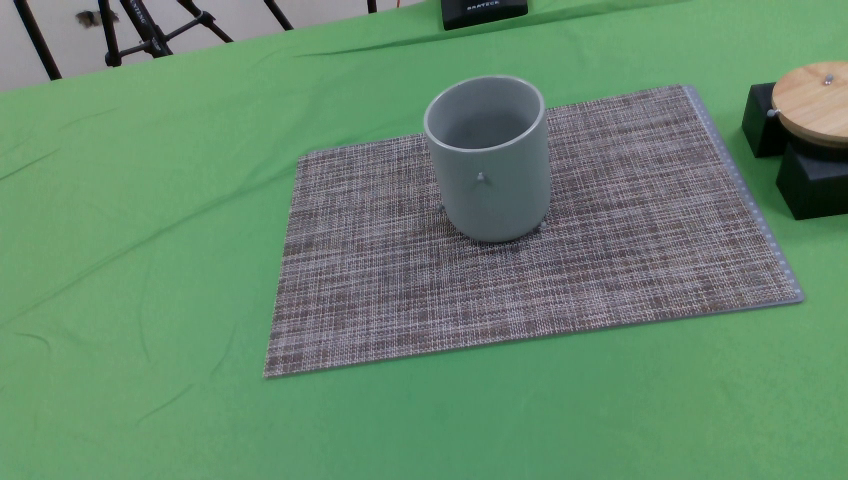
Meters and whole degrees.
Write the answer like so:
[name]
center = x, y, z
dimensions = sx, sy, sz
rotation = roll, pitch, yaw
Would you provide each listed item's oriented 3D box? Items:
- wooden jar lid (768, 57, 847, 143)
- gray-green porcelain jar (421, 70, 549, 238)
[wooden jar lid]
center = 0.363, -0.123, 0.533
dimensions = 0.108, 0.021, 0.107
rotation = -7, 50, 9
[gray-green porcelain jar]
center = 0.061, -0.073, 0.560
dimensions = 0.106, 0.128, 0.105
rotation = -7, 48, 9
